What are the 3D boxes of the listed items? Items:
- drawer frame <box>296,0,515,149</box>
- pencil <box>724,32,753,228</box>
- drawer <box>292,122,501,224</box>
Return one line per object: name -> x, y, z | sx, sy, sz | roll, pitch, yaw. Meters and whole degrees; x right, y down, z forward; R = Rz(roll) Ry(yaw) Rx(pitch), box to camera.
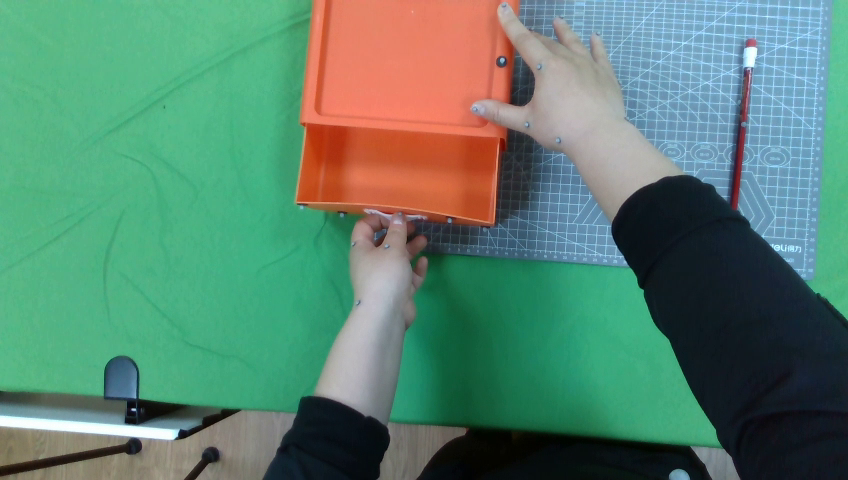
drawer frame -> -0.013, -0.204, 0.605 | 0.201, 0.083, 0.213 | 4, 88, 8
pencil -> 0.311, -0.109, 0.601 | 0.012, 0.012, 0.194 | 6, 91, 7
drawer -> -0.019, -0.126, 0.606 | 0.194, 0.073, 0.211 | 5, 87, 7
